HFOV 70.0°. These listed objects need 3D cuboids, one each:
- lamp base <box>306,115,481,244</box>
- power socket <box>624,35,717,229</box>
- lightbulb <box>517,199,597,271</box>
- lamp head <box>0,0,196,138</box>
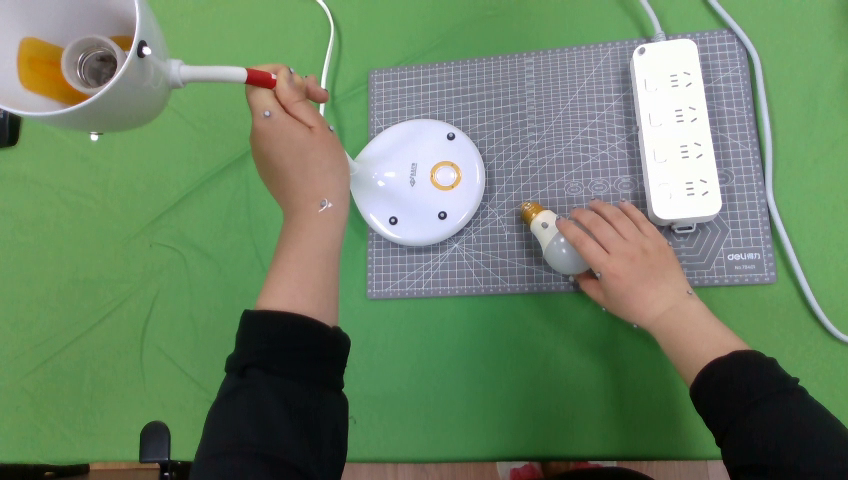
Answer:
[{"bbox_3d":[-0.039,-0.087,0.655,0.179,0.181,0.159,-10,76,13],"label":"lamp base"},{"bbox_3d":[0.272,-0.126,0.675,0.072,0.033,0.225,-5,77,10],"label":"power socket"},{"bbox_3d":[0.143,-0.010,0.669,0.059,0.060,0.106,-45,58,0],"label":"lightbulb"},{"bbox_3d":[-0.219,-0.118,0.401,0.112,0.123,0.112,0,85,4],"label":"lamp head"}]
